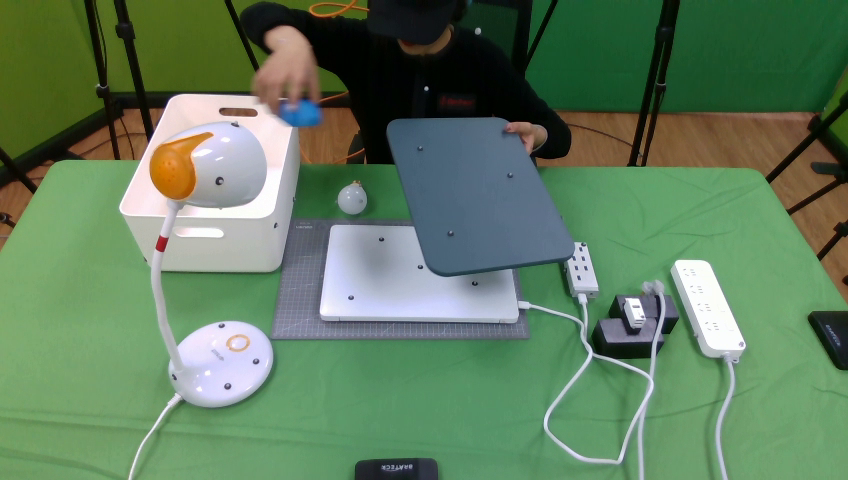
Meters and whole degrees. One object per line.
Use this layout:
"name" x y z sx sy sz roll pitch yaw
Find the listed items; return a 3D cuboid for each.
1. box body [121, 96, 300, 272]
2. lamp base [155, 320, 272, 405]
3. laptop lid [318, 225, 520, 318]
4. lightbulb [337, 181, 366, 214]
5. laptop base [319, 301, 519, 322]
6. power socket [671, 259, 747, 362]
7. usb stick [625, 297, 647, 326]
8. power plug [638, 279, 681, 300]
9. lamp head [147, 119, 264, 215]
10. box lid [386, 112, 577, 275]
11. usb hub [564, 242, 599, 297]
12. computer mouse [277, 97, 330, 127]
"box body" -0.387 -0.112 1.182 0.254 0.161 0.361 1 46 -3
"lamp base" -0.330 0.149 0.918 0.160 0.181 0.179 26 52 20
"laptop lid" -0.008 0.053 1.131 0.357 0.013 0.240 2 43 -2
"lightbulb" -0.147 -0.094 1.260 0.059 0.060 0.107 4 29 0
"laptop base" -0.009 0.063 1.137 0.354 0.023 0.234 1 42 -3
"power socket" 0.516 0.119 1.108 0.072 0.033 0.225 1 46 -2
"usb stick" 0.360 0.116 1.034 0.021 0.027 0.059 -2 44 -2
"power plug" 0.434 0.099 1.118 0.073 0.053 0.035 34 37 -15
"lamp head" -0.276 -0.087 0.740 0.112 0.112 0.123 20 23 15
"box lid" 0.092 -0.097 1.074 0.264 0.015 0.369 -6 53 -15
"usb hub" 0.299 0.055 1.162 0.049 0.025 0.124 2 46 -2
"computer mouse" -0.213 -0.229 1.065 0.063 0.041 0.116 -14 25 -27
